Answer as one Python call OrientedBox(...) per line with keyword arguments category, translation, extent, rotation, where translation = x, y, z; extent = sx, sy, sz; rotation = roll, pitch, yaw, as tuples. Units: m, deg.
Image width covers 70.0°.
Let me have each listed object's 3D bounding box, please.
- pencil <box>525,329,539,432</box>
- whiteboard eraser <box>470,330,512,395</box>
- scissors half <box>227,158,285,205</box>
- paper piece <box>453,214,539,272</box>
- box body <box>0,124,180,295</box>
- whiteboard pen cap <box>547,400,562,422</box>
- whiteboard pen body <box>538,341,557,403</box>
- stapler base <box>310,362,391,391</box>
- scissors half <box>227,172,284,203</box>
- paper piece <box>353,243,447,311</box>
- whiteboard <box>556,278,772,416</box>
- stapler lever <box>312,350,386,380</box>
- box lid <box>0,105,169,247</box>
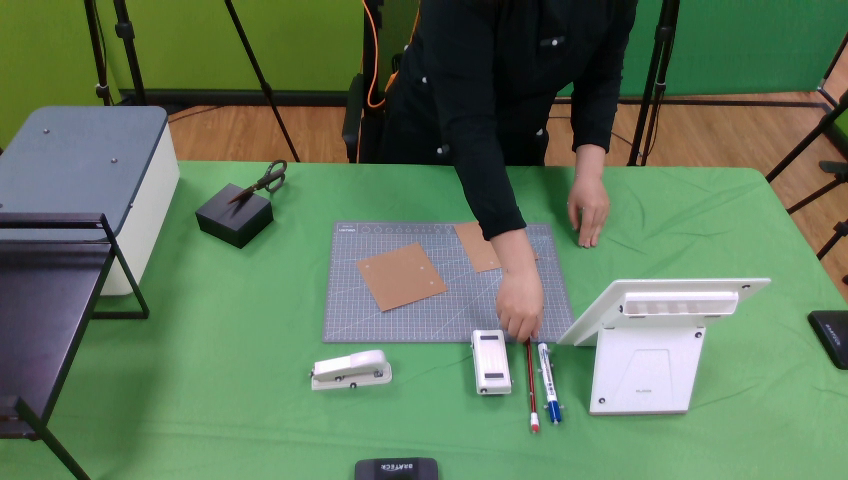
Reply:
OrientedBox(category="pencil", translation=(0.176, 0.225, 1.000), extent=(0.012, 0.012, 0.193), rotation=(4, 46, -1))
OrientedBox(category="whiteboard eraser", translation=(0.110, 0.202, 0.998), extent=(0.055, 0.042, 0.112), rotation=(1, 46, -5))
OrientedBox(category="scissors half", translation=(-0.337, -0.117, 1.218), extent=(0.013, 0.040, 0.175), rotation=(25, 47, 14))
OrientedBox(category="paper piece", translation=(0.142, 0.002, 1.213), extent=(0.135, 0.004, 0.135), rotation=(-11, 48, -14))
OrientedBox(category="box body", translation=(-0.628, -0.075, 1.122), extent=(0.254, 0.161, 0.361), rotation=(1, 46, -4))
OrientedBox(category="whiteboard pen cap", translation=(0.205, 0.269, 0.956), extent=(0.018, 0.018, 0.033), rotation=(-1, 48, -5))
OrientedBox(category="whiteboard pen body", translation=(0.205, 0.228, 0.997), extent=(0.017, 0.017, 0.140), rotation=(1, 47, -3))
OrientedBox(category="stapler base", translation=(-0.119, 0.215, 0.980), extent=(0.131, 0.024, 0.041), rotation=(-5, 44, -7))
OrientedBox(category="scissors half", translation=(-0.340, -0.101, 1.231), extent=(0.013, 0.040, 0.175), rotation=(21, 28, 17))
OrientedBox(category="paper piece", translation=(-0.046, 0.066, 1.137), extent=(0.136, 0.009, 0.137), rotation=(-14, 47, -22))
OrientedBox(category="whiteboard", translation=(0.347, 0.174, 0.903), extent=(0.217, 0.306, 0.143), rotation=(1, 65, -4))
OrientedBox(category="stapler lever", translation=(-0.120, 0.198, 0.963), extent=(0.118, 0.040, 0.026), rotation=(-4, 44, -8))
OrientedBox(category="box lid", translation=(-0.624, -0.125, 1.067), extent=(0.263, 0.015, 0.369), rotation=(0, 46, -3))
